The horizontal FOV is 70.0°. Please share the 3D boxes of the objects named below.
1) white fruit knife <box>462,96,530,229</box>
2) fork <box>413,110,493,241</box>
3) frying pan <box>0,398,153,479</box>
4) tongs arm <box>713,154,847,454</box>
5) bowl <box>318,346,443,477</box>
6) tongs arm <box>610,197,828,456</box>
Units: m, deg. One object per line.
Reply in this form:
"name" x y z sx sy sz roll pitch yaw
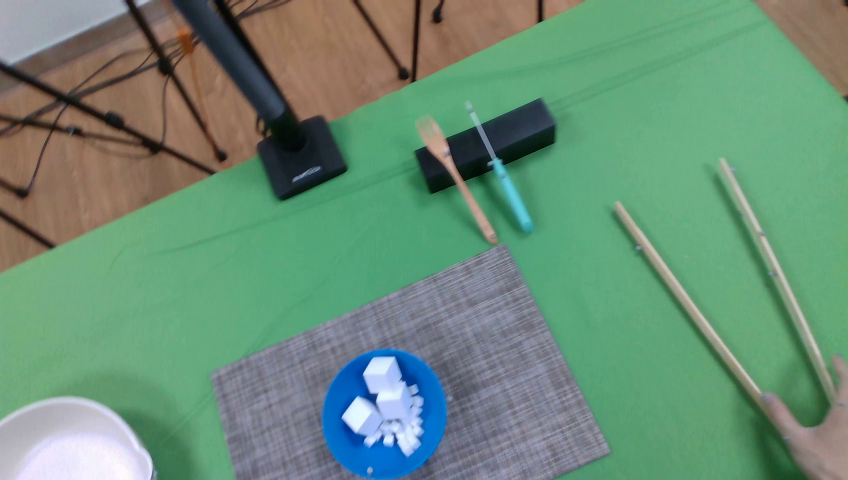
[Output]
"white fruit knife" 0.098 -0.110 0.847 0.016 0.027 0.206 -26 83 5
"fork" 0.043 -0.089 0.849 0.028 0.018 0.207 -29 87 -7
"frying pan" -0.433 0.429 0.713 0.307 0.104 0.482 -26 58 -1
"tongs arm" 0.424 0.064 0.750 0.051 0.027 0.381 -18 68 4
"bowl" -0.046 0.212 0.744 0.151 0.077 0.150 -3 68 8
"tongs arm" 0.349 0.096 0.755 0.028 0.028 0.384 -29 67 -5
